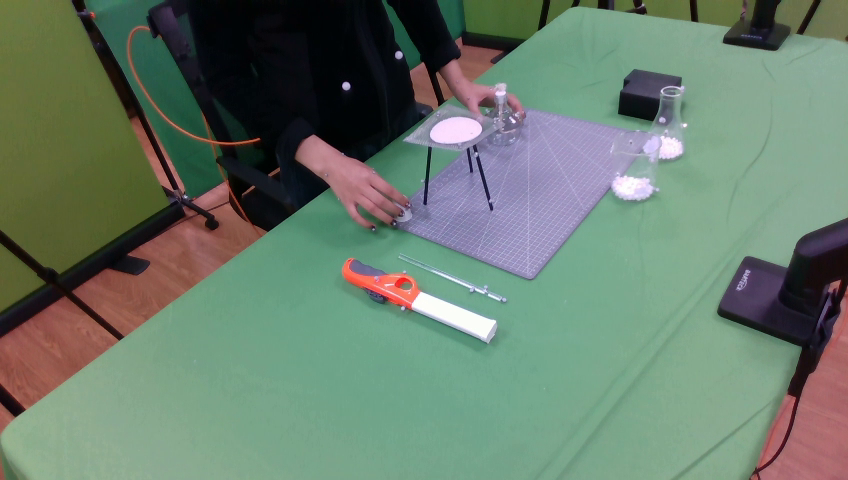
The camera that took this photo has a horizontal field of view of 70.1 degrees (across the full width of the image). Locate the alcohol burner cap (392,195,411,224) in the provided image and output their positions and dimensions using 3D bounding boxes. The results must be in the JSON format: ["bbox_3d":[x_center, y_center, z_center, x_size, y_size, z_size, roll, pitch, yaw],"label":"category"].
[{"bbox_3d":[-0.040,-0.055,1.039,0.034,0.048,0.033,-2,40,2],"label":"alcohol burner cap"}]

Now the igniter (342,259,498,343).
[{"bbox_3d":[-0.017,0.084,0.883,0.274,0.025,0.057,20,59,31],"label":"igniter"}]

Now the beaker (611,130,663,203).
[{"bbox_3d":[0.346,-0.118,0.998,0.084,0.101,0.073,-17,40,-7],"label":"beaker"}]

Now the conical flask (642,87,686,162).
[{"bbox_3d":[0.429,-0.206,1.067,0.075,0.122,0.075,-6,40,6],"label":"conical flask"}]

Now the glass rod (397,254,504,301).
[{"bbox_3d":[0.036,0.054,0.922,0.198,0.008,0.008,21,49,31],"label":"glass rod"}]

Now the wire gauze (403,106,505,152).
[{"bbox_3d":[0.049,-0.181,0.992,0.120,0.011,0.125,23,48,34],"label":"wire gauze"}]

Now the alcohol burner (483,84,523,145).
[{"bbox_3d":[0.152,-0.246,1.171,0.078,0.120,0.077,-7,40,6],"label":"alcohol burner"}]

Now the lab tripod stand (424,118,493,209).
[{"bbox_3d":[0.061,-0.133,1.039,0.148,0.132,0.147,-6,39,6],"label":"lab tripod stand"}]
